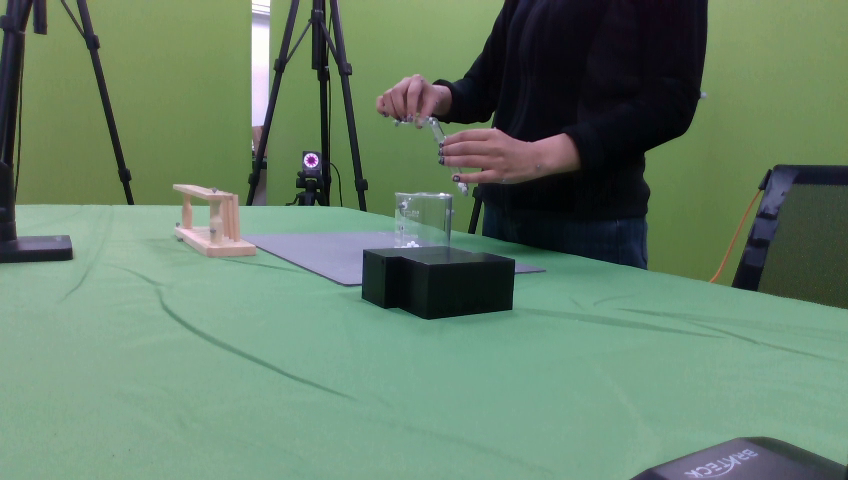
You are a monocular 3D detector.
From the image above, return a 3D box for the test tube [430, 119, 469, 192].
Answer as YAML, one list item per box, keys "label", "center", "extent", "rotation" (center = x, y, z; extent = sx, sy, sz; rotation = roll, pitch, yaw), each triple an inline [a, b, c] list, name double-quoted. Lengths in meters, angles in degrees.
- label: "test tube"
  center: [0.037, -0.127, 0.897]
  extent: [0.017, 0.017, 0.149]
  rotation: [-1, 50, -25]

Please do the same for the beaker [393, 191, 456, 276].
- label: "beaker"
  center: [-0.003, -0.010, 0.749]
  extent: [0.074, 0.100, 0.083]
  rotation: [-3, 9, -40]

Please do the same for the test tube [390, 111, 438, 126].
- label: "test tube"
  center: [-0.019, -0.201, 1.000]
  extent: [0.017, 0.017, 0.149]
  rotation: [-2, 15, -30]

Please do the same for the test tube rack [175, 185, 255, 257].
- label: "test tube rack"
  center: [-0.324, -0.035, 0.922]
  extent: [0.067, 0.085, 0.241]
  rotation: [-2, 9, -31]
